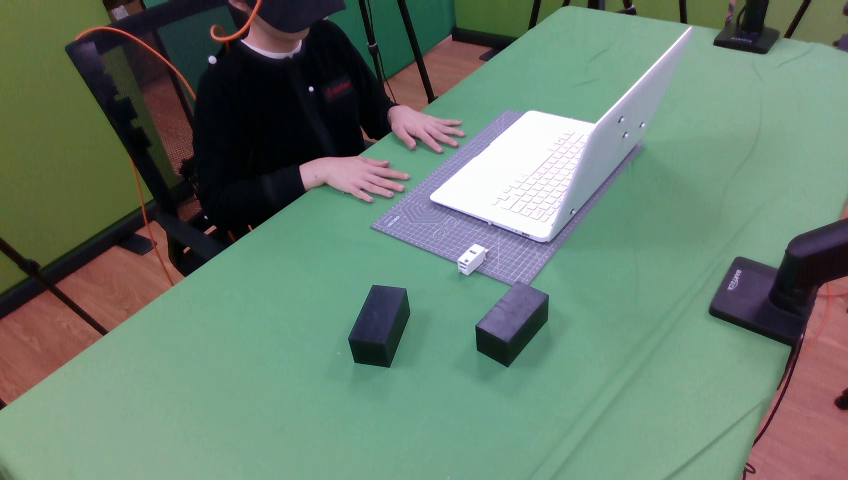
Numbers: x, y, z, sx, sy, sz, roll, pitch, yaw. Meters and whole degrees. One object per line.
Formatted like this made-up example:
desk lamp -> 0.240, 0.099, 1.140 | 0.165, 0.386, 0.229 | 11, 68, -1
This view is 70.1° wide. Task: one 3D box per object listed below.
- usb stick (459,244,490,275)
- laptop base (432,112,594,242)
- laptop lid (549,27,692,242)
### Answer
usb stick -> 0.080, 0.026, 0.926 | 0.021, 0.027, 0.059 | 27, 49, 33
laptop base -> 0.208, -0.128, 1.098 | 0.233, 0.023, 0.355 | 20, 47, 33
laptop lid -> 0.311, -0.167, 0.948 | 0.013, 0.242, 0.358 | 33, 52, 20
